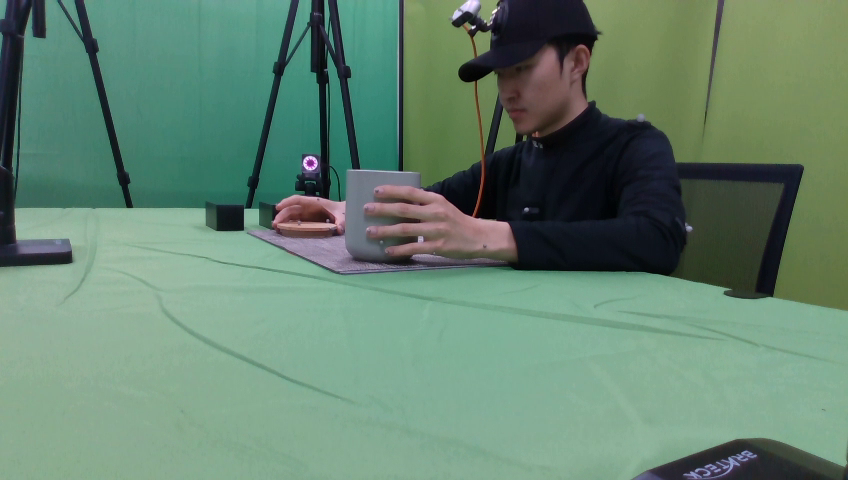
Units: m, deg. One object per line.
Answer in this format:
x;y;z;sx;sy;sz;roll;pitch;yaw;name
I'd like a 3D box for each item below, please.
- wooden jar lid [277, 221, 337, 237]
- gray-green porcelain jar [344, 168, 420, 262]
-0.215;-0.021;1.112;0.108;0.020;0.108;3;7;0;wooden jar lid
-0.060;-0.037;0.858;0.106;0.126;0.106;2;7;0;gray-green porcelain jar
